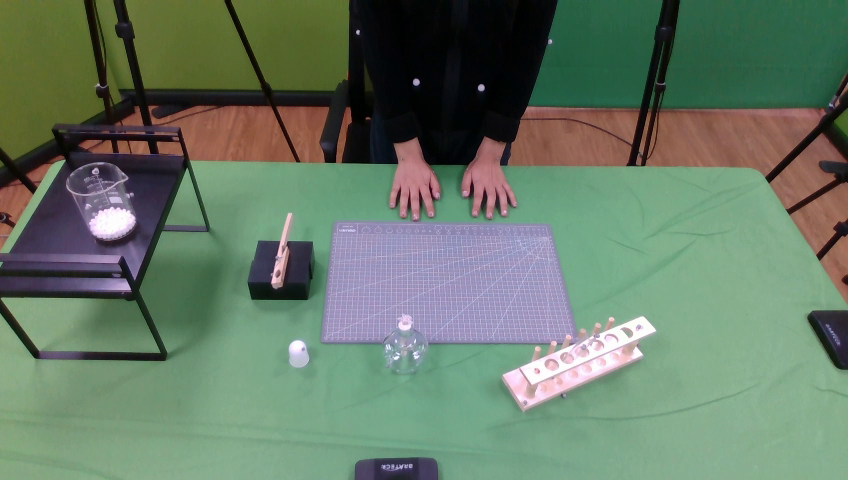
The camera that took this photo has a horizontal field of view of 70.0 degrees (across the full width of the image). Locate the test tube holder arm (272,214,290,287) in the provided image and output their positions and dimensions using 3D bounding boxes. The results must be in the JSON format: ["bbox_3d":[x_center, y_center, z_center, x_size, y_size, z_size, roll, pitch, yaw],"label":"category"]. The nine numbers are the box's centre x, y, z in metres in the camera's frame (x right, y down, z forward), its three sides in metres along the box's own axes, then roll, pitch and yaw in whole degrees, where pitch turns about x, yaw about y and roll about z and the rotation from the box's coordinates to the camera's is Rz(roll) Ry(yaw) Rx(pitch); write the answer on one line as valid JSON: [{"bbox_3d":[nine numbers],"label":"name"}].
[{"bbox_3d":[-0.259,0.015,1.099,0.013,0.015,0.177,-1,45,-4],"label":"test tube holder arm"}]

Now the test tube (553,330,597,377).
[{"bbox_3d":[0.226,0.176,0.924,0.017,0.151,0.017,6,55,-9],"label":"test tube"}]

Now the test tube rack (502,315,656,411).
[{"bbox_3d":[0.253,0.186,0.989,0.242,0.085,0.066,-18,50,-20],"label":"test tube rack"}]

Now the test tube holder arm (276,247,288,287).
[{"bbox_3d":[-0.251,0.046,1.068,0.010,0.015,0.087,-1,45,-3],"label":"test tube holder arm"}]

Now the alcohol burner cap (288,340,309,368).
[{"bbox_3d":[-0.207,0.183,0.991,0.034,0.048,0.033,3,46,-3],"label":"alcohol burner cap"}]

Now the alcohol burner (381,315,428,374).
[{"bbox_3d":[-0.031,0.162,0.973,0.078,0.120,0.077,2,44,-1],"label":"alcohol burner"}]

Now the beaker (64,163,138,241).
[{"bbox_3d":[-0.477,-0.055,0.910,0.084,0.101,0.073,-9,48,-13],"label":"beaker"}]
